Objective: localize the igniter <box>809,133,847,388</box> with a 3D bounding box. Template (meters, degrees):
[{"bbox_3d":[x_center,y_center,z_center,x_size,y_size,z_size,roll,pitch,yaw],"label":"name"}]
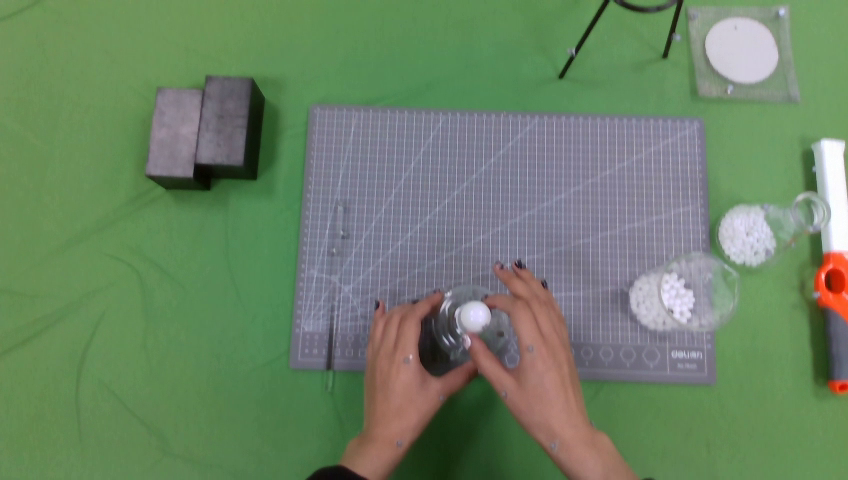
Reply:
[{"bbox_3d":[0.443,0.018,0.653,0.057,0.025,0.275,4,80,-11],"label":"igniter"}]

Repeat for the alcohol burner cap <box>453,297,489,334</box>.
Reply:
[{"bbox_3d":[0.044,0.067,0.551,0.034,0.048,0.033,1,77,-4],"label":"alcohol burner cap"}]

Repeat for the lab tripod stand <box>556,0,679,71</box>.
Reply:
[{"bbox_3d":[0.208,-0.254,0.647,0.148,0.132,0.148,0,81,0],"label":"lab tripod stand"}]

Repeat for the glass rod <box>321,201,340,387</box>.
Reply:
[{"bbox_3d":[-0.099,0.056,0.650,0.008,0.008,0.199,3,83,0],"label":"glass rod"}]

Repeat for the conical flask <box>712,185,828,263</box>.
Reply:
[{"bbox_3d":[0.352,-0.021,0.611,0.075,0.122,0.075,0,79,1],"label":"conical flask"}]

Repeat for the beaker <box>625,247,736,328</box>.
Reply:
[{"bbox_3d":[0.252,0.050,0.607,0.084,0.100,0.073,-21,80,-4],"label":"beaker"}]

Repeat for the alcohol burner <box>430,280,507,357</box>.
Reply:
[{"bbox_3d":[0.044,0.075,0.594,0.078,0.119,0.077,0,78,2],"label":"alcohol burner"}]

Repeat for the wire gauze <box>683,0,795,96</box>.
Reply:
[{"bbox_3d":[0.368,-0.228,0.707,0.125,0.011,0.121,1,80,-2],"label":"wire gauze"}]
